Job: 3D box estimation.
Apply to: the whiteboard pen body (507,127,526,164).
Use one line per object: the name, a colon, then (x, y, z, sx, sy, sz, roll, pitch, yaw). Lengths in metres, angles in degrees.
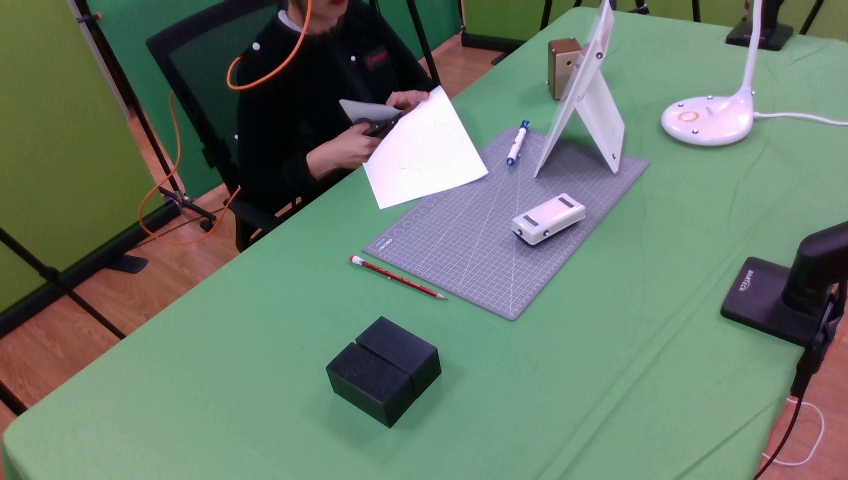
whiteboard pen body: (0.181, -0.189, 1.162, 0.017, 0.017, 0.140, 7, 42, 19)

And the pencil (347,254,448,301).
pencil: (-0.044, 0.058, 0.933, 0.192, 0.012, 0.012, 22, 49, 28)

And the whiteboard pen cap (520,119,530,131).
whiteboard pen cap: (0.199, -0.226, 1.204, 0.018, 0.018, 0.033, 7, 41, 18)

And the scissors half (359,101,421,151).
scissors half: (-0.070, -0.238, 1.266, 0.174, 0.040, 0.012, -35, 25, 30)

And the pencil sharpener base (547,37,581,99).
pencil sharpener base: (0.299, -0.368, 1.290, 0.061, 0.107, 0.076, -8, 40, 2)

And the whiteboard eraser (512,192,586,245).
whiteboard eraser: (0.199, -0.032, 0.962, 0.113, 0.042, 0.055, -27, 43, -20)

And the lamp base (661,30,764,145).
lamp base: (0.535, -0.287, 1.096, 0.179, 0.181, 0.159, -10, 40, -4)

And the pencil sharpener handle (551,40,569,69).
pencil sharpener handle: (0.291, -0.409, 1.320, 0.036, 0.068, 0.030, 2, 40, -6)

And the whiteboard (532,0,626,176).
whiteboard: (0.320, -0.258, 1.050, 0.144, 0.306, 0.217, 21, 45, 5)

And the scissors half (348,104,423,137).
scissors half: (-0.082, -0.253, 1.255, 0.174, 0.040, 0.013, -14, 39, 17)
